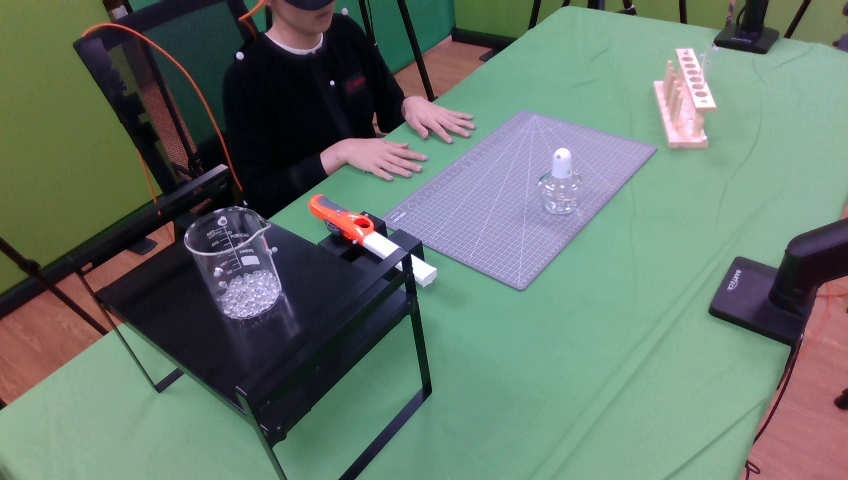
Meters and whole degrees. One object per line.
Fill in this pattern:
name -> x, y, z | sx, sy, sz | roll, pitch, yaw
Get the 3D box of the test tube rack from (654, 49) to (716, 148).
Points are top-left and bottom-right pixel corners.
test tube rack -> 0.502, -0.281, 1.176 | 0.066, 0.085, 0.241 | 1, 41, 11

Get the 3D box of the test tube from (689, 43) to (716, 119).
test tube -> 0.509, -0.287, 1.107 | 0.017, 0.151, 0.017 | -3, 44, 3

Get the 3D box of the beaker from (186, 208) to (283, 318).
beaker -> -0.192, 0.026, 0.637 | 0.084, 0.101, 0.073 | -13, 41, -7

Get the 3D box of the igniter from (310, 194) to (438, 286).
igniter -> -0.087, -0.007, 0.921 | 0.274, 0.025, 0.057 | 31, 50, 34

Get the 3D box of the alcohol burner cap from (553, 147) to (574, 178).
alcohol burner cap -> 0.224, -0.125, 0.965 | 0.034, 0.048, 0.033 | -5, 44, 5

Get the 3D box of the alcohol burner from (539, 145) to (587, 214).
alcohol burner -> 0.226, -0.102, 0.986 | 0.078, 0.119, 0.077 | -6, 41, 6
